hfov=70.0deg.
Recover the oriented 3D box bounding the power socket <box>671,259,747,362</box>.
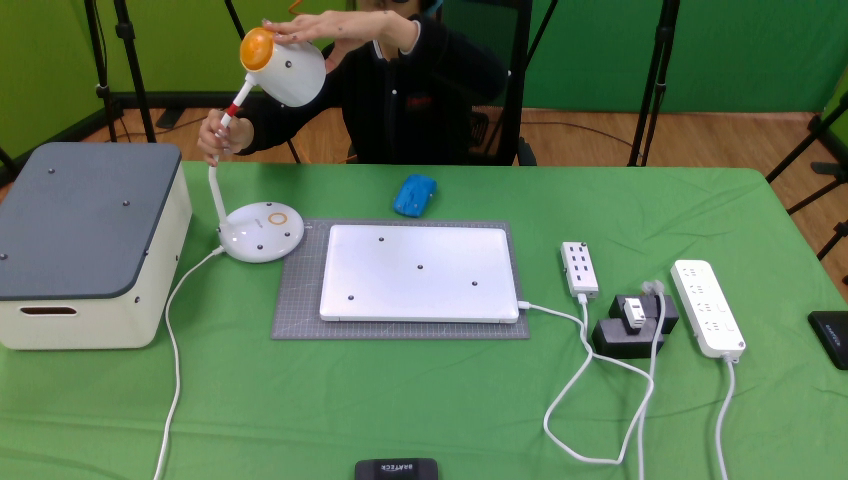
[{"bbox_3d":[0.516,0.119,1.108,0.072,0.033,0.225,1,46,-2],"label":"power socket"}]

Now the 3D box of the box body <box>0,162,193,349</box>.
[{"bbox_3d":[-0.570,0.006,1.054,0.254,0.161,0.361,-1,46,-4],"label":"box body"}]

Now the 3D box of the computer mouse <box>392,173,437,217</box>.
[{"bbox_3d":[-0.018,-0.098,1.282,0.062,0.041,0.117,20,51,13],"label":"computer mouse"}]

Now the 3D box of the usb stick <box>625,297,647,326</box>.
[{"bbox_3d":[0.360,0.116,1.034,0.021,0.027,0.059,-2,44,-2],"label":"usb stick"}]

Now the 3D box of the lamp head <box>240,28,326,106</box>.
[{"bbox_3d":[-0.238,-0.282,0.972,0.112,0.112,0.123,32,12,24],"label":"lamp head"}]

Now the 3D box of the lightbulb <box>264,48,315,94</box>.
[{"bbox_3d":[-0.222,-0.280,0.991,0.059,0.108,0.059,-6,74,25],"label":"lightbulb"}]

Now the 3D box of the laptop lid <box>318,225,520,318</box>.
[{"bbox_3d":[-0.009,0.052,1.131,0.357,0.013,0.240,2,43,-2],"label":"laptop lid"}]

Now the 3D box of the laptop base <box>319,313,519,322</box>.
[{"bbox_3d":[-0.009,0.062,1.137,0.354,0.023,0.234,1,42,-3],"label":"laptop base"}]

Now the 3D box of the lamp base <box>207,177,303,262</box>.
[{"bbox_3d":[-0.325,-0.065,1.126,0.179,0.181,0.159,-35,56,-26],"label":"lamp base"}]

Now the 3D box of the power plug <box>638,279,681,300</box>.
[{"bbox_3d":[0.434,0.099,1.118,0.073,0.053,0.035,34,37,-15],"label":"power plug"}]

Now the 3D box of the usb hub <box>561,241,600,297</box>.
[{"bbox_3d":[0.300,0.055,1.161,0.049,0.025,0.124,3,46,-3],"label":"usb hub"}]

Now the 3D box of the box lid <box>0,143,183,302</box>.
[{"bbox_3d":[-0.568,-0.045,0.999,0.263,0.015,0.369,-1,46,-4],"label":"box lid"}]
